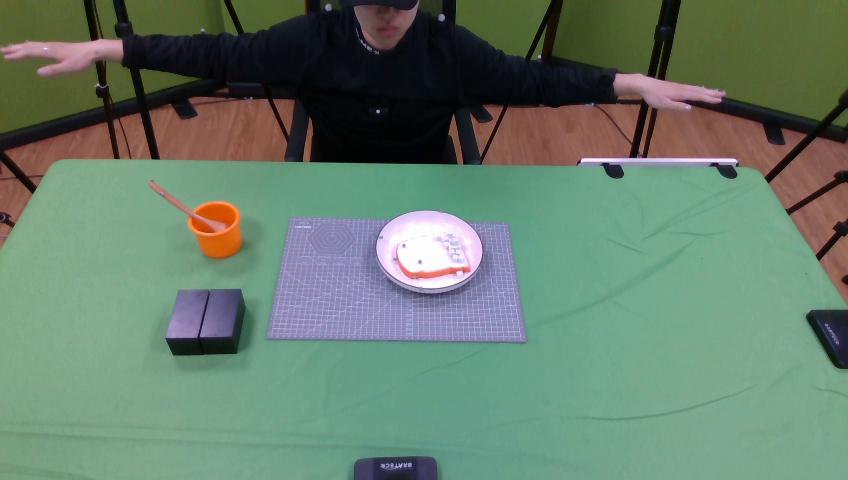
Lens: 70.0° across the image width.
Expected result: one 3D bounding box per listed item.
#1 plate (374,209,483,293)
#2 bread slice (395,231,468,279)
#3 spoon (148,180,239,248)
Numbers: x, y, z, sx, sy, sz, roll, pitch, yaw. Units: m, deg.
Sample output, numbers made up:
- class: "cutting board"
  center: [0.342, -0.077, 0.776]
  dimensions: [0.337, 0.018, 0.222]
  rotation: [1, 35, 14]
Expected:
- class: "plate"
  center: [0.009, 0.024, 1.160]
  dimensions: [0.209, 0.038, 0.208]
  rotation: [2, 46, -2]
- class: "bread slice"
  center: [0.011, 0.030, 1.158]
  dimensions: [0.132, 0.019, 0.104]
  rotation: [-8, 47, -14]
- class: "spoon"
  center: [-0.422, -0.047, 1.116]
  dimensions: [0.195, 0.021, 0.041]
  rotation: [36, 41, -26]
